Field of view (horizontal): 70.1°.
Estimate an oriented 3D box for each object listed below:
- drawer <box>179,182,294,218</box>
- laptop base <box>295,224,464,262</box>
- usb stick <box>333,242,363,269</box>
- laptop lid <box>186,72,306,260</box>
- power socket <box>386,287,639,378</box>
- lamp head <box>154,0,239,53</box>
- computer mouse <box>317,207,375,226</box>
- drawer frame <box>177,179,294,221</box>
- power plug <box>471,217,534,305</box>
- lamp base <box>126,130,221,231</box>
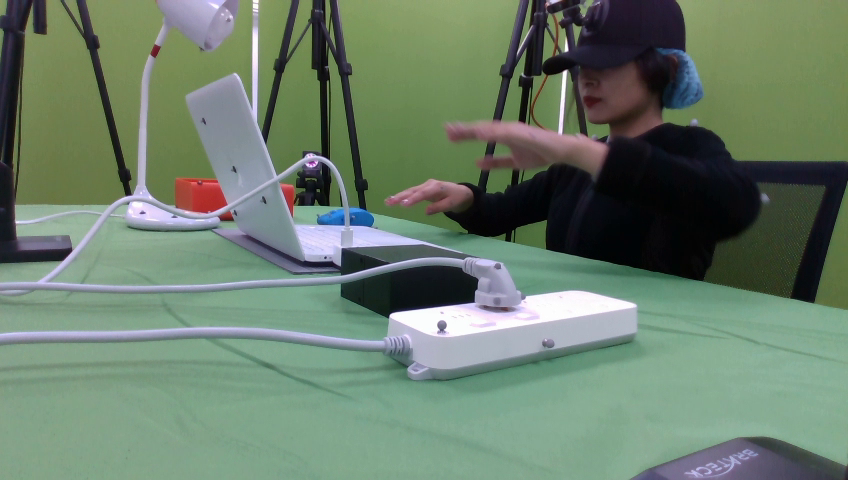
[{"bbox_3d":[-0.420,-0.091,1.354,0.213,0.073,0.193,-3,10,-31],"label":"drawer"},{"bbox_3d":[-0.127,0.002,0.946,0.237,0.023,0.352,2,6,-30],"label":"laptop base"},{"bbox_3d":[-0.096,0.017,0.743,0.021,0.027,0.059,-4,10,-31],"label":"usb stick"},{"bbox_3d":[-0.263,-0.102,0.852,0.013,0.242,0.355,-25,20,-25],"label":"laptop lid"},{"bbox_3d":[0.074,0.064,0.461,0.228,0.032,0.072,-4,8,-34],"label":"power socket"},{"bbox_3d":[-0.406,-0.402,1.059,0.123,0.112,0.112,25,5,-6],"label":"lamp head"},{"bbox_3d":[-0.163,-0.048,1.264,0.118,0.041,0.062,-6,12,-29],"label":"computer mouse"},{"bbox_3d":[-0.422,-0.092,1.352,0.215,0.082,0.200,-3,10,-32],"label":"drawer frame"},{"bbox_3d":[0.055,0.014,0.454,0.035,0.072,0.052,-22,-2,-40],"label":"power plug"},{"bbox_3d":[-0.469,-0.112,1.108,0.179,0.180,0.160,0,7,3],"label":"lamp base"}]
